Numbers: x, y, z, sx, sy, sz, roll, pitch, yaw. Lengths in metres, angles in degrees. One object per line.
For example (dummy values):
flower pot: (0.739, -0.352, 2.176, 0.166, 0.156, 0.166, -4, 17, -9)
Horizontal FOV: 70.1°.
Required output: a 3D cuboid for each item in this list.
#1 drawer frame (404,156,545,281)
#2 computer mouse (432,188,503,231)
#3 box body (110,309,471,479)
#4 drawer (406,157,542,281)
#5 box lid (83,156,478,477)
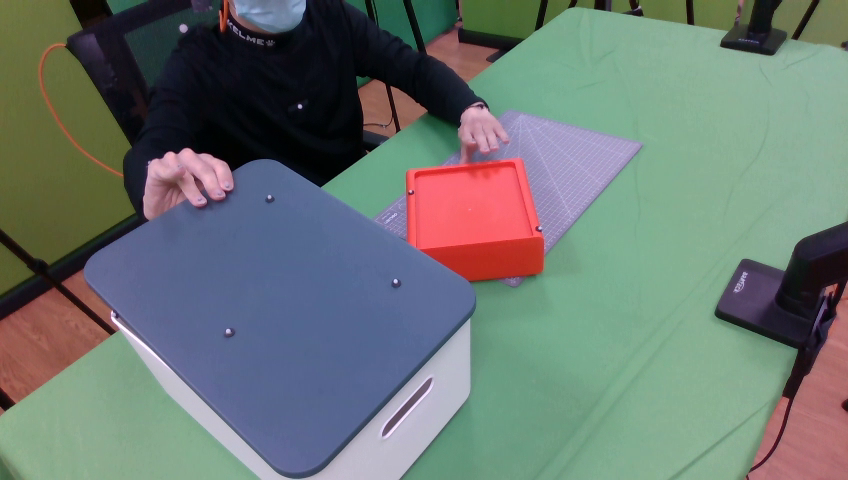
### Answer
drawer frame: (0.073, -0.036, 0.953, 0.202, 0.083, 0.212, -6, 41, 1)
computer mouse: (0.071, -0.051, 0.994, 0.117, 0.041, 0.062, -10, 44, 6)
box body: (-0.147, 0.135, 0.726, 0.361, 0.161, 0.255, 25, 50, 32)
drawer: (0.072, -0.037, 0.957, 0.194, 0.073, 0.210, -5, 41, 1)
box lid: (-0.156, 0.045, 0.640, 0.369, 0.015, 0.264, 32, 55, 26)
